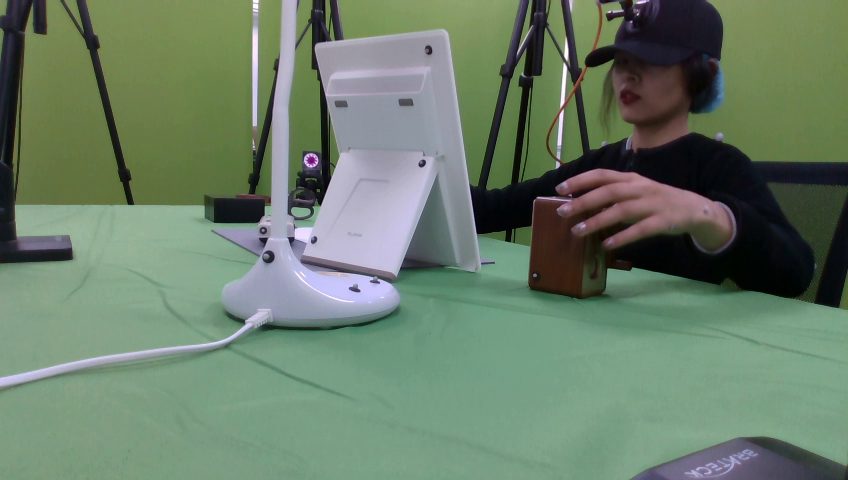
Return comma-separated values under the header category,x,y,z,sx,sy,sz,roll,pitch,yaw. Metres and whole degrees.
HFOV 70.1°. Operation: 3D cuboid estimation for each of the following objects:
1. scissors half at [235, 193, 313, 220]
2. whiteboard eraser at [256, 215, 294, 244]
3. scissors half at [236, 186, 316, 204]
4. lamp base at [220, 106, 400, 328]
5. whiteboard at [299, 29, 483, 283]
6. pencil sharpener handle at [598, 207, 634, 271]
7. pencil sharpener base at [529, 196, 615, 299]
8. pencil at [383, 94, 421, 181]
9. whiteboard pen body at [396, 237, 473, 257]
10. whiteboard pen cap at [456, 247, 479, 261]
category,x,y,z,sx,sy,sz,roll,pitch,yaw
scissors half,-0.324,-0.077,1.319,0.176,0.040,0.012,17,6,-31
whiteboard eraser,-0.232,-0.016,0.951,0.056,0.042,0.112,2,7,-12
scissors half,-0.320,-0.097,1.316,0.176,0.040,0.013,-3,11,-29
lamp base,-0.101,-0.023,0.531,0.160,0.180,0.179,4,10,10
whiteboard,-0.074,-0.082,0.742,0.216,0.305,0.144,9,30,38
pencil sharpener handle,0.208,0.000,0.645,0.030,0.068,0.036,10,22,42
pencil sharpener base,0.168,0.007,0.678,0.076,0.107,0.062,10,10,42
pencil,-0.038,-0.173,1.042,0.012,0.193,0.012,15,44,-14
whiteboard pen body,0.014,0.012,0.886,0.140,0.017,0.017,9,10,38
whiteboard pen cap,0.060,0.020,0.851,0.033,0.018,0.018,10,10,37
